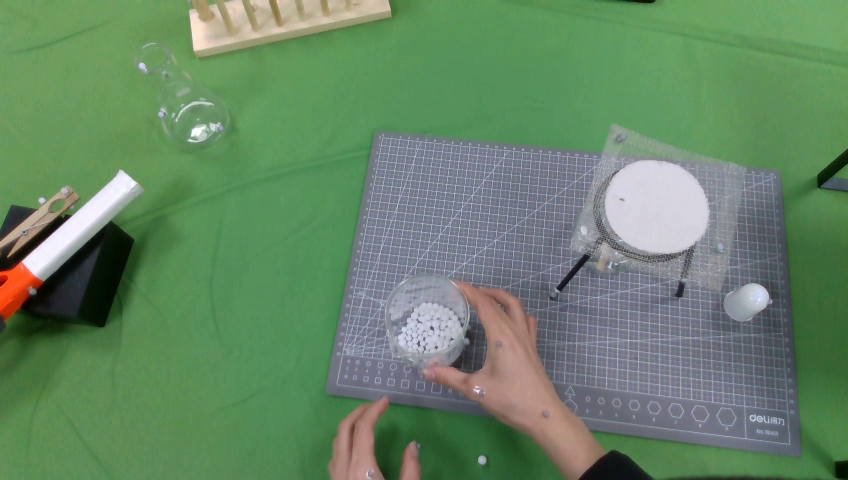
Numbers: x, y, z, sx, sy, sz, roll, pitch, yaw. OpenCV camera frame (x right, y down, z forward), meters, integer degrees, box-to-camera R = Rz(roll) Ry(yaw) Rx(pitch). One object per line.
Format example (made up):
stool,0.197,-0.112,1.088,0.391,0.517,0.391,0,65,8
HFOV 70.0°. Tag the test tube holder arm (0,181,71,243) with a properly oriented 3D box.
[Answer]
test tube holder arm,-0.418,0.007,0.590,0.178,0.015,0.013,-45,105,-13

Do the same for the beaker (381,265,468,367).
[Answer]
beaker,0.000,0.078,0.562,0.073,0.101,0.084,36,75,15

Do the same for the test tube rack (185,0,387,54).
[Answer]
test tube rack,-0.172,-0.299,0.717,0.242,0.086,0.066,-13,69,-3

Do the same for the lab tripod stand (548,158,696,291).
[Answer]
lab tripod stand,0.190,-0.006,0.569,0.148,0.132,0.147,0,68,0

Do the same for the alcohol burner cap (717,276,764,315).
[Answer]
alcohol burner cap,0.313,0.052,0.593,0.034,0.048,0.033,-1,69,2

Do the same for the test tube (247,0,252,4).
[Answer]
test tube,-0.216,-0.325,0.675,0.017,0.151,0.017,0,63,0

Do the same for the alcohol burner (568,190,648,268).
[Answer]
alcohol burner,0.182,-0.017,0.584,0.078,0.120,0.077,0,68,0

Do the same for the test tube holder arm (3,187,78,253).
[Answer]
test tube holder arm,-0.384,-0.020,0.602,0.088,0.015,0.010,-45,104,-13

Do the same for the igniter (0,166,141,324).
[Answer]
igniter,-0.389,0.033,0.581,0.057,0.025,0.276,35,73,23

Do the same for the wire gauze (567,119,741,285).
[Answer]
wire gauze,0.195,-0.034,0.507,0.121,0.011,0.124,19,72,7

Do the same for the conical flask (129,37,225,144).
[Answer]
conical flask,-0.269,-0.163,0.650,0.075,0.122,0.075,-1,69,2
